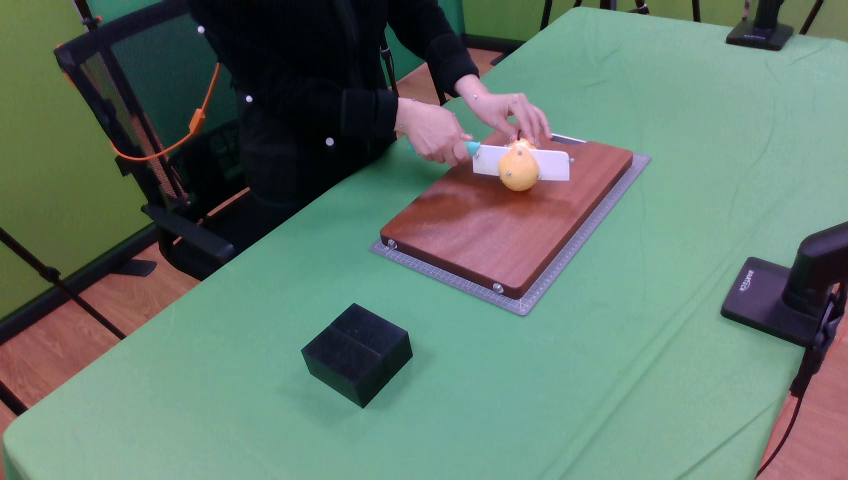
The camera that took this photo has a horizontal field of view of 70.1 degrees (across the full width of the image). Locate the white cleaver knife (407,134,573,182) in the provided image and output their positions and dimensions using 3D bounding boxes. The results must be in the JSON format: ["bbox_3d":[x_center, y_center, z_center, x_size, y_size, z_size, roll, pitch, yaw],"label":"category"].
[{"bbox_3d":[0.105,-0.135,1.011,0.285,0.066,0.021,10,41,17],"label":"white cleaver knife"}]

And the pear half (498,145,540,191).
[{"bbox_3d":[0.155,-0.113,0.995,0.070,0.088,0.031,6,47,10],"label":"pear half"}]

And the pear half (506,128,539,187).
[{"bbox_3d":[0.164,-0.145,1.015,0.076,0.110,0.056,7,43,11],"label":"pear half"}]
